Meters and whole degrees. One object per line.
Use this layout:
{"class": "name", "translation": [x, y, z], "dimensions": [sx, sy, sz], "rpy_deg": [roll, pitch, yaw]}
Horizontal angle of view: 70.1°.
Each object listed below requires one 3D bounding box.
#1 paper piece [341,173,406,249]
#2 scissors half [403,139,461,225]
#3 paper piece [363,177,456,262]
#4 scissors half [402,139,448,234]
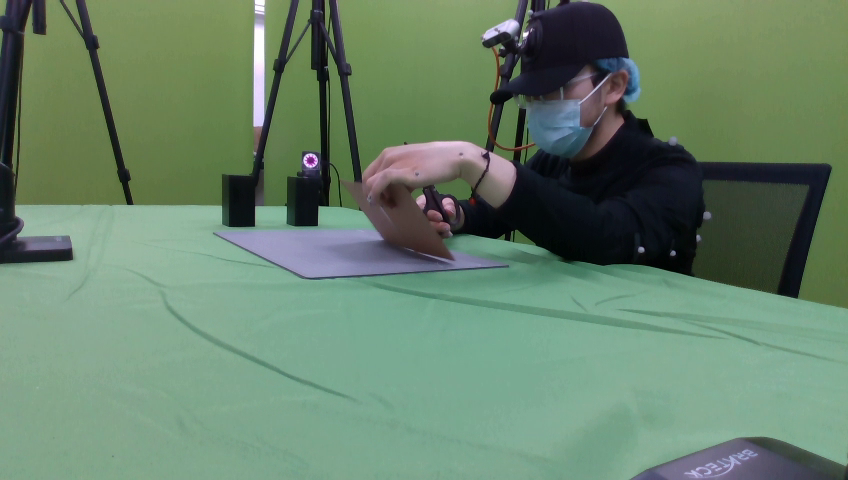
{"class": "paper piece", "translation": [-0.081, -0.047, 0.973], "dimensions": [0.004, 0.135, 0.135], "rpy_deg": [-37, 21, -15]}
{"class": "scissors half", "translation": [0.014, -0.097, 1.011], "dimensions": [0.040, 0.176, 0.013], "rpy_deg": [-45, 26, -17]}
{"class": "paper piece", "translation": [-0.023, -0.029, 0.855], "dimensions": [0.008, 0.136, 0.137], "rpy_deg": [-42, 23, -23]}
{"class": "scissors half", "translation": [-0.002, -0.086, 1.005], "dimensions": [0.040, 0.175, 0.012], "rpy_deg": [-27, 20, -19]}
